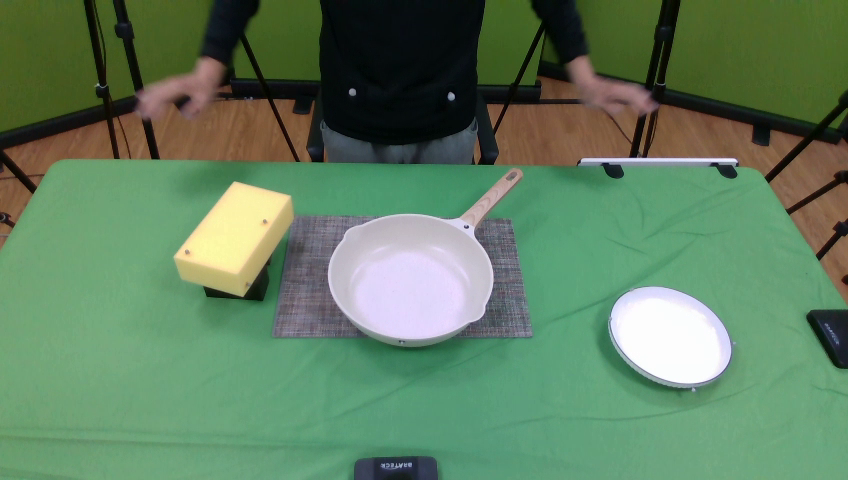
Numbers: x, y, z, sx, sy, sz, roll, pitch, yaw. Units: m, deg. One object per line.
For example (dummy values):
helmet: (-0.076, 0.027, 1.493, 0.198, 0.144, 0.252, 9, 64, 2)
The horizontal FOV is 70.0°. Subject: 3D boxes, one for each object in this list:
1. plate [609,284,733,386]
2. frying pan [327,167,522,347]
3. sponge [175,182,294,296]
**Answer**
plate: (0.425, 0.167, 1.059, 0.208, 0.039, 0.206, 2, 46, -2)
frying pan: (0.042, 0.009, 1.132, 0.305, 0.103, 0.487, 34, 61, 24)
sponge: (-0.332, -0.007, 1.086, 0.118, 0.061, 0.206, 13, 47, 9)
